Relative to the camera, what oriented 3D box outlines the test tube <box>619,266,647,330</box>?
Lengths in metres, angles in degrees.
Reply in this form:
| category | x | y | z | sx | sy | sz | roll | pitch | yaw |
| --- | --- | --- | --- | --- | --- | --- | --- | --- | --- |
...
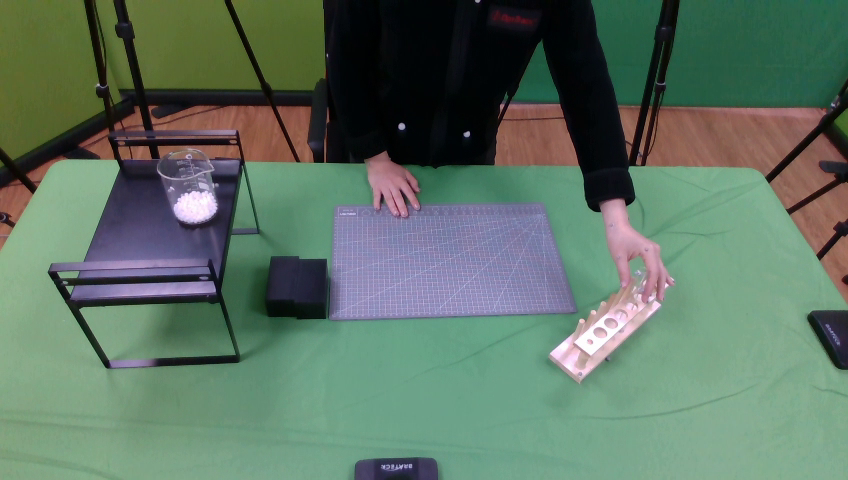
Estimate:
| category | x | y | z | sx | sy | sz | roll | pitch | yaw |
| --- | --- | --- | --- | --- | --- | --- | --- | --- | --- |
| test tube | 0.346 | 0.100 | 1.013 | 0.017 | 0.151 | 0.017 | 1 | 43 | -1 |

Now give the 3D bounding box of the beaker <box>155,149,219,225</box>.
| category | x | y | z | sx | sy | sz | roll | pitch | yaw |
| --- | --- | --- | --- | --- | --- | --- | --- | --- | --- |
| beaker | -0.362 | -0.080 | 0.945 | 0.084 | 0.101 | 0.073 | 4 | 46 | -1 |

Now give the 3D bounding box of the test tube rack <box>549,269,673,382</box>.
| category | x | y | z | sx | sy | sz | roll | pitch | yaw |
| --- | --- | --- | --- | --- | --- | --- | --- | --- | --- |
| test tube rack | 0.325 | 0.134 | 1.047 | 0.242 | 0.085 | 0.066 | -32 | 55 | -30 |
